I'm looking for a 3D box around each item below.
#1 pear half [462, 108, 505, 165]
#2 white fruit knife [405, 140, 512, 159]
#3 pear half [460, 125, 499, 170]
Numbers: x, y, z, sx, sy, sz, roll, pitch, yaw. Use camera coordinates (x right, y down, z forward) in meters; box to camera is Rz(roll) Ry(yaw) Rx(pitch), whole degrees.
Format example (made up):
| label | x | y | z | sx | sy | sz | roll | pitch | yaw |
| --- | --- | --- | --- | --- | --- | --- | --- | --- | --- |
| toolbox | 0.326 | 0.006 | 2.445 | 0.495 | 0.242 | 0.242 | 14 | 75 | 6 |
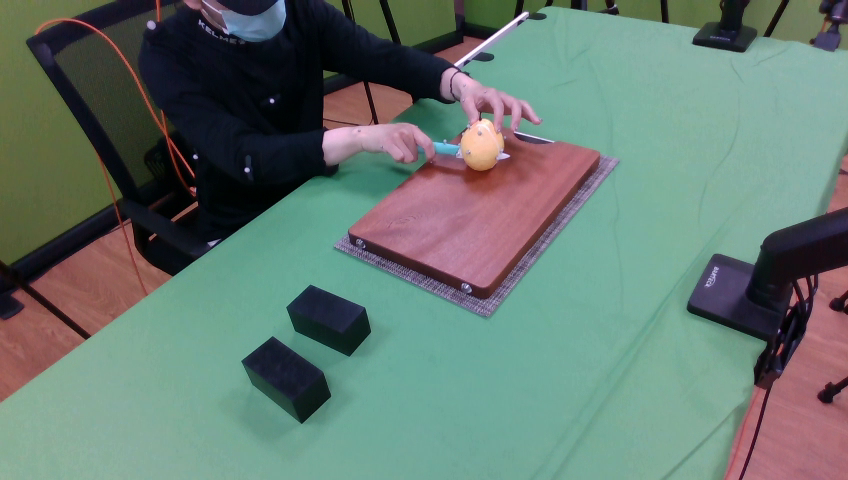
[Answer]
| label | x | y | z | sx | sy | sz | roll | pitch | yaw |
| --- | --- | --- | --- | --- | --- | --- | --- | --- | --- |
| pear half | 0.106 | -0.186 | 1.057 | 0.076 | 0.110 | 0.056 | 11 | 42 | 13 |
| white fruit knife | 0.057 | -0.160 | 1.073 | 0.206 | 0.027 | 0.016 | 9 | 41 | 23 |
| pear half | 0.092 | -0.153 | 1.038 | 0.070 | 0.088 | 0.031 | 12 | 48 | 13 |
